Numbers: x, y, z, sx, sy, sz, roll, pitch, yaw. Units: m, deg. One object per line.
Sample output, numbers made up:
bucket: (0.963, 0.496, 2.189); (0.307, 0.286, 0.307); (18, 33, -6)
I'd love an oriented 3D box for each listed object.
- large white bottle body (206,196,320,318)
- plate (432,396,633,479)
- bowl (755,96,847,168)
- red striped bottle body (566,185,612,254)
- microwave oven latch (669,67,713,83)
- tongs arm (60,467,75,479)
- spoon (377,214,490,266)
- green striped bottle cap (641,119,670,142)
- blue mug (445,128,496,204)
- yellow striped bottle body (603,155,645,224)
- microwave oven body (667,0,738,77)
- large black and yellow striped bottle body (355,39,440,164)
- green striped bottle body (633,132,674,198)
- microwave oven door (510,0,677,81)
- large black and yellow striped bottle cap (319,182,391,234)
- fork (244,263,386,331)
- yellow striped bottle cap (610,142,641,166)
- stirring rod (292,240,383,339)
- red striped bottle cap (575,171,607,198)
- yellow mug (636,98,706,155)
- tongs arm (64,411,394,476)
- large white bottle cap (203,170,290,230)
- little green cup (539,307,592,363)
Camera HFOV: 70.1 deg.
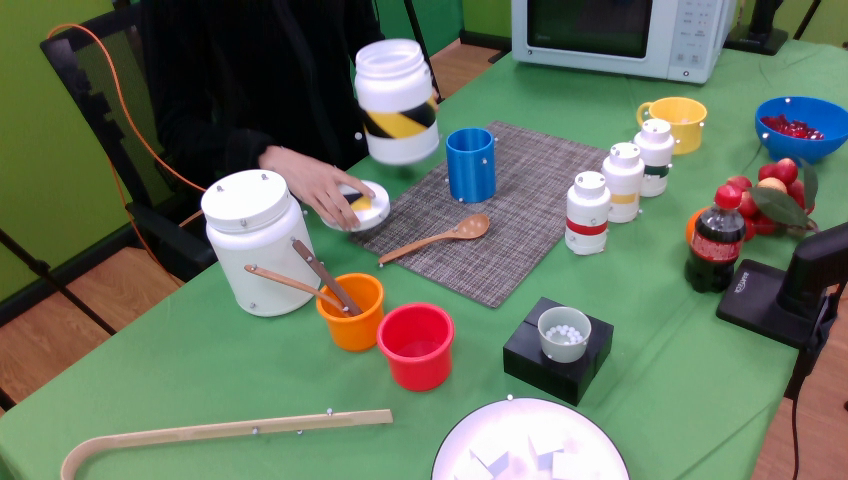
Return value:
large white bottle body: (-0.233, 0.008, 0.876); (0.130, 0.185, 0.130); (-4, 40, 4)
plate: (0.112, 0.261, 0.634); (0.209, 0.038, 0.208); (-5, 40, 4)
bowl: (0.645, -0.177, 1.041); (0.151, 0.077, 0.150); (-5, 40, 4)
red striped bottle body: (0.248, -0.041, 0.910); (0.063, 0.120, 0.062); (-4, 41, 4)
microwave oven latch: (0.556, -0.349, 1.261); (0.078, 0.029, 0.030); (16, 46, 27)
tongs arm: (-0.239, 0.301, 0.648); (0.386, 0.028, 0.028); (6, 49, 16)
spoon: (0.016, 0.001, 0.966); (0.194, 0.022, 0.041); (-18, 63, -12)
green striped bottle cap: (0.371, -0.175, 0.968); (0.044, 0.020, 0.044); (-5, 42, 5)
blue mug: (0.083, -0.139, 1.058); (0.082, 0.106, 0.116); (-2, 40, 7)
yellow striped bottle body: (0.314, -0.091, 0.957); (0.063, 0.121, 0.062); (-4, 40, 4)
microwave oven body: (0.462, -0.552, 1.369); (0.439, 0.261, 0.326); (15, 45, 26)
large black and yellow striped bottle body: (-0.046, -0.240, 1.050); (0.131, 0.185, 0.130); (-6, 37, 5)
green striped bottle body: (0.376, -0.135, 1.001); (0.063, 0.120, 0.063); (-5, 40, 5)
microwave oven door: (0.354, -0.478, 1.290); (0.353, 0.245, 0.039); (15, 45, 25)
large black and yellow striped bottle cap: (-0.112, -0.054, 0.979); (0.115, 0.019, 0.114); (-3, 43, 4)
fork: (-0.141, 0.077, 0.807); (0.209, 0.018, 0.028); (30, 44, -24)
yellow striped bottle cap: (0.308, -0.131, 0.925); (0.044, 0.019, 0.044); (-4, 46, 5)
stirring rod: (-0.118, 0.068, 0.826); (0.176, 0.006, 0.014); (49, 59, -4)
red striped bottle cap: (0.242, -0.081, 0.876); (0.044, 0.018, 0.044); (-5, 44, 5)
yellow mug: (0.453, -0.217, 1.128); (0.100, 0.064, 0.129); (-34, 46, -27)
tongs arm: (-0.228, 0.241, 0.715); (0.385, 0.026, 0.050); (-5, 43, 4)
large white bottle cap: (-0.241, -0.057, 0.822); (0.115, 0.018, 0.114); (-4, 41, 4)
little green cup: (0.168, 0.115, 0.721); (0.061, 0.039, 0.061); (-4, 42, 4)
